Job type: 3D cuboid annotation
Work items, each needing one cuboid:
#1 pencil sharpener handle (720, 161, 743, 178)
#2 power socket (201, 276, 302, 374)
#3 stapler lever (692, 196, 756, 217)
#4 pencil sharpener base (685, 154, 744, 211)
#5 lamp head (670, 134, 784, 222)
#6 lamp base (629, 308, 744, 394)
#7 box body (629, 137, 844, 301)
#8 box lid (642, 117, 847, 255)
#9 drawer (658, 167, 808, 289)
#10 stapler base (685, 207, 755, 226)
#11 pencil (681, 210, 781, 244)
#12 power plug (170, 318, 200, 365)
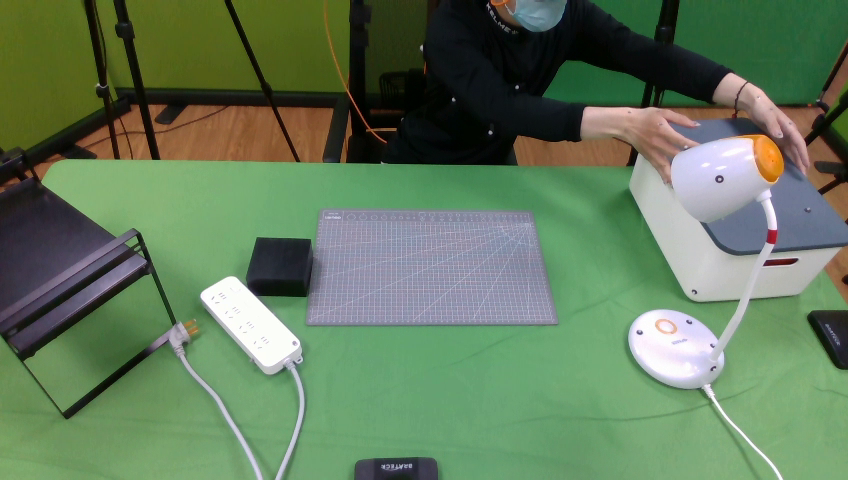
[{"bbox_3d":[0.666,-0.149,1.299,0.031,0.068,0.036,-10,83,-12],"label":"pencil sharpener handle"},{"bbox_3d":[-0.297,0.141,1.034,0.072,0.033,0.225,-34,58,-30],"label":"power socket"},{"bbox_3d":[0.588,-0.065,1.185,0.118,0.040,0.026,2,58,12],"label":"stapler lever"},{"bbox_3d":[0.619,-0.123,1.293,0.077,0.107,0.061,-10,48,-12],"label":"pencil sharpener base"},{"bbox_3d":[0.422,-0.089,0.829,0.113,0.123,0.112,8,74,-32],"label":"lamp head"},{"bbox_3d":[0.446,0.139,0.987,0.161,0.181,0.178,-18,53,-20],"label":"lamp base"},{"bbox_3d":[0.593,-0.062,1.202,0.254,0.161,0.361,-3,47,-7],"label":"box body"},{"bbox_3d":[0.594,-0.117,1.142,0.263,0.015,0.369,-4,47,-8],"label":"box lid"},{"bbox_3d":[0.583,-0.024,1.164,0.194,0.073,0.210,-11,55,3],"label":"drawer"},{"bbox_3d":[0.590,-0.051,1.204,0.130,0.024,0.041,3,58,11],"label":"stapler base"},{"bbox_3d":[0.599,-0.027,1.186,0.194,0.012,0.012,19,48,9],"label":"pencil"},{"bbox_3d":[-0.392,0.167,1.013,0.052,0.035,0.072,-31,89,-23],"label":"power plug"}]
